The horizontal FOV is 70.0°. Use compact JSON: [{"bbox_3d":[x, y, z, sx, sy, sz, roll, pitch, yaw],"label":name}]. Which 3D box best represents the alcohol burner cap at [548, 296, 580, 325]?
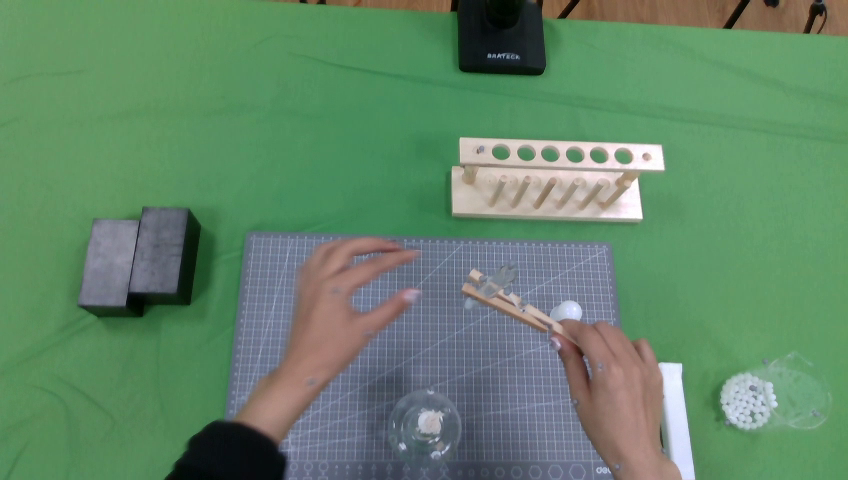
[{"bbox_3d":[0.166,0.082,0.706,0.034,0.048,0.033,2,70,-4],"label":"alcohol burner cap"}]

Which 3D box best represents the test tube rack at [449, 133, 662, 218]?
[{"bbox_3d":[0.156,-0.076,0.741,0.243,0.085,0.066,1,70,-5],"label":"test tube rack"}]

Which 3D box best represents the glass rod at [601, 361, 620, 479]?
[{"bbox_3d":[0.211,0.234,0.674,0.008,0.008,0.198,1,70,-5],"label":"glass rod"}]

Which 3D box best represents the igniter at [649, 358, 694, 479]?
[{"bbox_3d":[0.278,0.268,0.661,0.057,0.025,0.274,6,70,-14],"label":"igniter"}]

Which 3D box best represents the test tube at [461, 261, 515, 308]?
[{"bbox_3d":[0.056,0.044,0.562,0.017,0.150,0.017,2,74,-9],"label":"test tube"}]

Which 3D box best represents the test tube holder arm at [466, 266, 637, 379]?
[{"bbox_3d":[0.116,0.076,0.559,0.178,0.015,0.013,31,76,5],"label":"test tube holder arm"}]

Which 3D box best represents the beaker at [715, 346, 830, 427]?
[{"bbox_3d":[0.378,0.165,0.668,0.074,0.101,0.083,14,69,0],"label":"beaker"}]

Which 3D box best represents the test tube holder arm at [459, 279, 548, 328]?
[{"bbox_3d":[0.074,0.059,0.561,0.088,0.015,0.010,24,75,3],"label":"test tube holder arm"}]

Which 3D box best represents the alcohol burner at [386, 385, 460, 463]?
[{"bbox_3d":[0.000,0.185,0.616,0.078,0.120,0.077,2,68,-4],"label":"alcohol burner"}]
